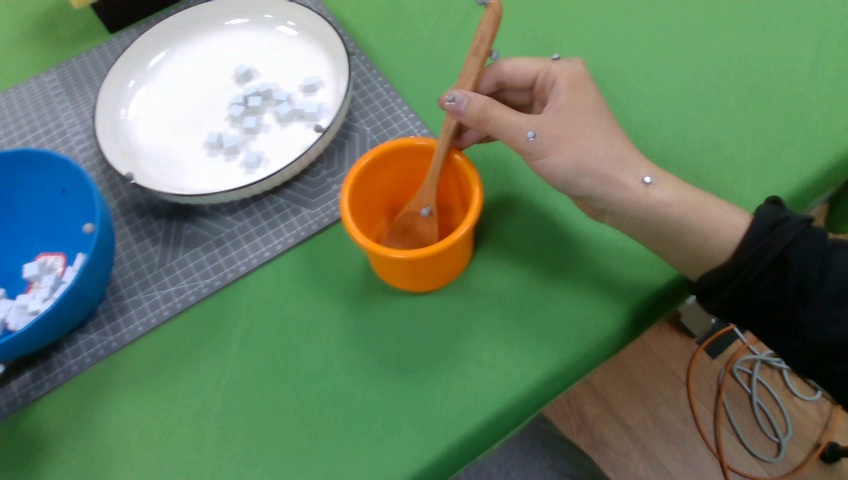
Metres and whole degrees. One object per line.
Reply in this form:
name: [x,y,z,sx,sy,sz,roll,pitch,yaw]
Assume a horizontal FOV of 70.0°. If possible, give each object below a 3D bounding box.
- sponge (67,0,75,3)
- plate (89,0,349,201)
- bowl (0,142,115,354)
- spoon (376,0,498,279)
sponge: [-0.248,-0.308,0.534,0.207,0.061,0.117,-31,65,-11]
plate: [-0.163,-0.118,0.496,0.209,0.038,0.207,-2,64,4]
bowl: [-0.275,0.017,0.416,0.151,0.077,0.150,-2,63,5]
spoon: [0.010,-0.061,0.394,0.041,0.194,0.021,26,24,14]
